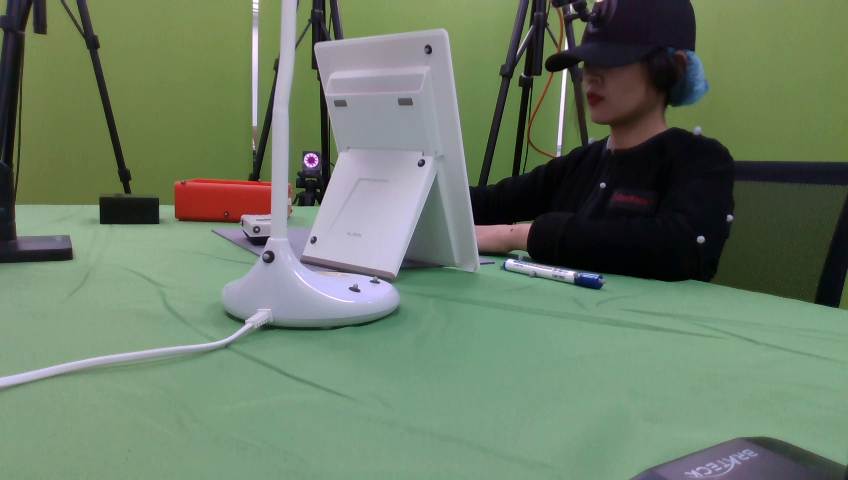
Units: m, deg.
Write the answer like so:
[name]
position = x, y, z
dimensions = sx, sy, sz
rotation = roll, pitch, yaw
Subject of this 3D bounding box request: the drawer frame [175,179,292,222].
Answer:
[drawer frame]
position = -0.402, -0.087, 1.311
dimensions = 0.214, 0.082, 0.201
rotation = 1, 8, -9

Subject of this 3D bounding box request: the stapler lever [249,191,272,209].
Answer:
[stapler lever]
position = -0.352, -0.086, 1.306
dimensions = 0.027, 0.040, 0.118
rotation = -1, 5, -3

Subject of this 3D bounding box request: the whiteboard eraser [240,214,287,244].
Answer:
[whiteboard eraser]
position = -0.256, -0.018, 0.958
dimensions = 0.056, 0.042, 0.112
rotation = 0, 8, -25

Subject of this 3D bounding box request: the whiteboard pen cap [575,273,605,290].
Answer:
[whiteboard pen cap]
position = 0.197, 0.048, 0.719
dimensions = 0.018, 0.018, 0.033
rotation = -4, 11, -41

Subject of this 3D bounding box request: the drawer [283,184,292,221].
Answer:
[drawer]
position = -0.397, -0.086, 1.314
dimensions = 0.212, 0.073, 0.194
rotation = 1, 8, -9

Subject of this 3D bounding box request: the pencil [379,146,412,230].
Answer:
[pencil]
position = -0.050, -0.093, 1.045
dimensions = 0.012, 0.194, 0.012
rotation = 12, -35, 9

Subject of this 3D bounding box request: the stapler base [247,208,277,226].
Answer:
[stapler base]
position = -0.350, -0.054, 1.310
dimensions = 0.041, 0.024, 0.130
rotation = -1, 13, -3

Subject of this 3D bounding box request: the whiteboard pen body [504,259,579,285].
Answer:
[whiteboard pen body]
position = 0.157, 0.042, 0.764
dimensions = 0.017, 0.017, 0.140
rotation = -4, 10, -41

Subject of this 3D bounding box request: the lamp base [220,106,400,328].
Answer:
[lamp base]
position = -0.101, -0.023, 0.531
dimensions = 0.160, 0.180, 0.179
rotation = 4, 10, 10

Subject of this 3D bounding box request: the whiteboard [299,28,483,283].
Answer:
[whiteboard]
position = -0.075, -0.082, 0.741
dimensions = 0.216, 0.305, 0.144
rotation = 9, 29, 38
